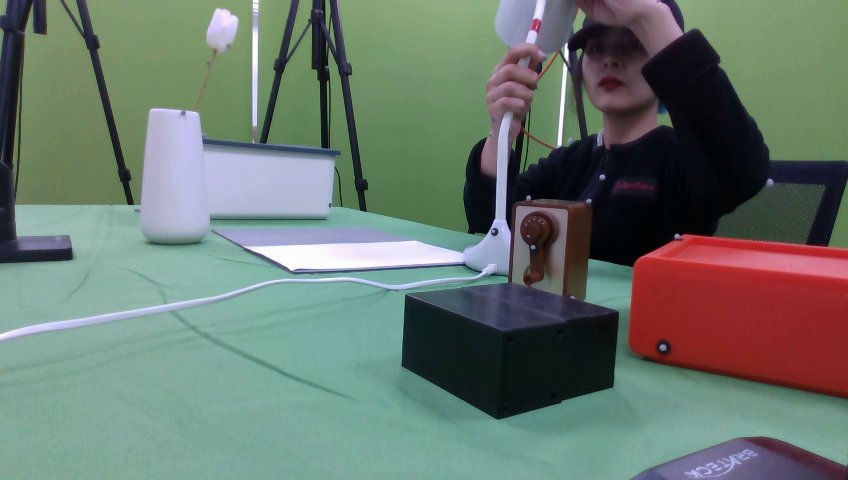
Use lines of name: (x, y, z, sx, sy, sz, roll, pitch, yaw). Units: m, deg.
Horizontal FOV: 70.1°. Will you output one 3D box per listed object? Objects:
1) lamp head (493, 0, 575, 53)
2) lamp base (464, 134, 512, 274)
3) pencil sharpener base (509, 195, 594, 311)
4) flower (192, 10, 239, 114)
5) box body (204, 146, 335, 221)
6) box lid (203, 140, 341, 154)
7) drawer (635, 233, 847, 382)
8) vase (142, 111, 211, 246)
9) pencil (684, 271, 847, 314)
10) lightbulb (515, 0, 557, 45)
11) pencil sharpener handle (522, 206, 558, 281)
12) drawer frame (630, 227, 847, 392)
lamp head: (0.158, -0.334, 0.828, 0.112, 0.112, 0.123, 2, -26, -3)
lamp base: (0.129, -0.053, 0.805, 0.160, 0.180, 0.180, 5, 14, 27)
pencil sharpener base: (0.126, 0.011, 0.601, 0.061, 0.107, 0.077, 7, 9, 30)
flower: (-0.354, -0.174, 0.915, 0.038, 0.361, 0.044, 18, -3, 12)
box body: (-0.411, -0.135, 1.386, 0.366, 0.160, 0.253, -2, 9, -29)
box lid: (-0.396, -0.212, 1.373, 0.373, 0.015, 0.262, -1, 9, -29)
drawer: (0.292, 0.046, 0.488, 0.193, 0.073, 0.213, 7, 10, 30)
vase: (-0.378, -0.093, 0.920, 0.098, 0.200, 0.098, 2, 9, 0)
pencil: (0.307, 0.046, 0.516, 0.194, 0.012, 0.012, 12, 5, -11)
lightbulb: (0.159, -0.328, 0.855, 0.059, 0.108, 0.059, -3, 51, 4)
pencil sharpener handle: (0.102, 0.003, 0.555, 0.036, 0.067, 0.031, 0, 6, 31)
drawer frame: (0.292, 0.043, 0.484, 0.201, 0.082, 0.214, 7, 9, 29)
